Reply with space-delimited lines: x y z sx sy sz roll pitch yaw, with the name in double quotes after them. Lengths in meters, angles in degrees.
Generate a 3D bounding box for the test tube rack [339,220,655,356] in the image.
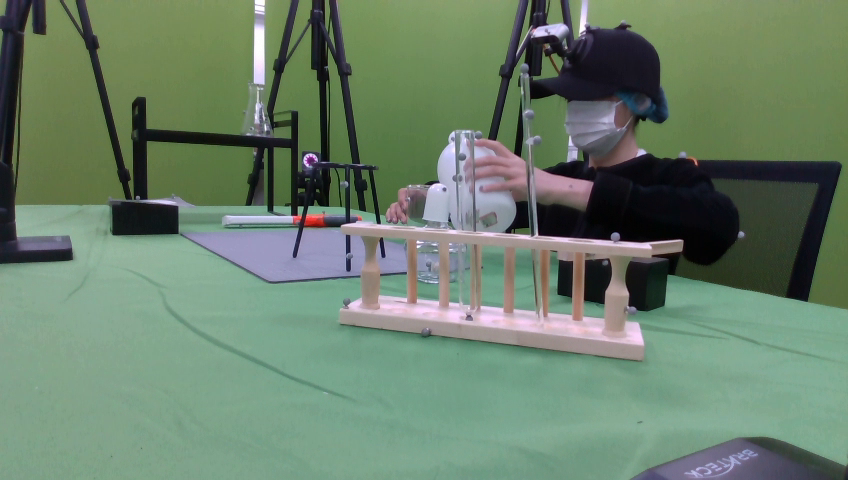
0.056 0.032 0.495 0.242 0.085 0.067 4 7 15 "test tube rack"

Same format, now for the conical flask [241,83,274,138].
-0.384 -0.297 1.393 0.075 0.122 0.075 2 7 0 "conical flask"

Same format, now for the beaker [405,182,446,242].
0.007 -0.050 1.069 0.083 0.100 0.074 11 13 41 "beaker"

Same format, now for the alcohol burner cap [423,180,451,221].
0.017 -0.047 0.711 0.034 0.048 0.034 8 5 0 "alcohol burner cap"

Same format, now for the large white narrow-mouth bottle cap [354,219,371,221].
-0.120 -0.029 1.184 0.038 0.024 0.037 2 8 0 "large white narrow-mouth bottle cap"

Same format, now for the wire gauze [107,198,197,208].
-0.462 -0.064 1.023 0.126 0.011 0.121 -2 7 -32 "wire gauze"

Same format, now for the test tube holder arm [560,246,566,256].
0.173 0.007 0.611 0.088 0.015 0.010 -3 9 -30 "test tube holder arm"

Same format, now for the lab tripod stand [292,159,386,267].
-0.105 -0.039 0.798 0.148 0.131 0.148 2 5 0 "lab tripod stand"

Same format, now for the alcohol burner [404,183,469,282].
0.015 -0.011 0.715 0.078 0.119 0.078 0 7 0 "alcohol burner"

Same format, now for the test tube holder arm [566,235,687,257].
0.215 0.006 0.629 0.179 0.015 0.013 -3 9 -30 "test tube holder arm"

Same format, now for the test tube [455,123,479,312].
0.034 -0.016 0.476 0.017 0.150 0.017 -2 10 1 "test tube"

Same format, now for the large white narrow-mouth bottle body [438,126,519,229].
0.076 -0.105 0.947 0.102 0.101 0.194 0 51 -18 "large white narrow-mouth bottle body"

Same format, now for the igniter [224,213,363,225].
-0.255 -0.041 1.210 0.278 0.025 0.057 -2 -2 -31 "igniter"

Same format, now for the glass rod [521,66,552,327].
0.085 -0.028 0.454 0.008 0.199 0.008 -7 10 2 "glass rod"
